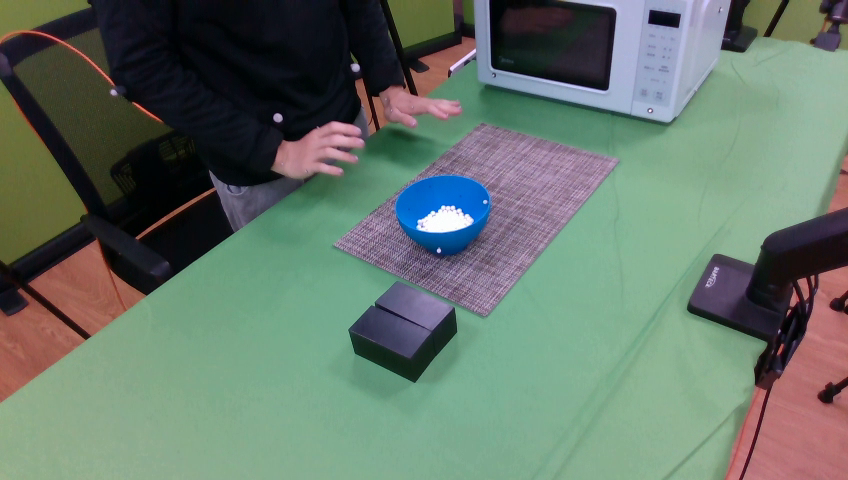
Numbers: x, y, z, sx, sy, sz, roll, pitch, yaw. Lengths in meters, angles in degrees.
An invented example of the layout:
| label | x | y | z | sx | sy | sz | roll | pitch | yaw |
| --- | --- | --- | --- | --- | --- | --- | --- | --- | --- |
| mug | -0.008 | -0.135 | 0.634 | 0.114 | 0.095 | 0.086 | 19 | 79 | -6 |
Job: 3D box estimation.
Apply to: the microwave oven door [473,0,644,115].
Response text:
| label | x | y | z | sx | sy | sz | roll | pitch | yaw |
| --- | --- | --- | --- | --- | --- | --- | --- | --- | --- |
| microwave oven door | 0.257 | -0.396 | 1.199 | 0.353 | 0.245 | 0.039 | 21 | 48 | 29 |

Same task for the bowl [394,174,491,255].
| label | x | y | z | sx | sy | sz | roll | pitch | yaw |
| --- | --- | --- | --- | --- | --- | --- | --- | --- | --- |
| bowl | 0.032 | -0.030 | 0.949 | 0.151 | 0.077 | 0.150 | -4 | 40 | 4 |

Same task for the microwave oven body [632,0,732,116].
| label | x | y | z | sx | sy | sz | roll | pitch | yaw |
| --- | --- | --- | --- | --- | --- | --- | --- | --- | --- |
| microwave oven body | 0.377 | -0.462 | 1.267 | 0.438 | 0.261 | 0.327 | 21 | 48 | 30 |

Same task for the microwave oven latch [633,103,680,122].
| label | x | y | z | sx | sy | sz | roll | pitch | yaw |
| --- | --- | --- | --- | --- | --- | --- | --- | --- | --- |
| microwave oven latch | 0.443 | -0.249 | 1.157 | 0.078 | 0.029 | 0.030 | 21 | 48 | 30 |
